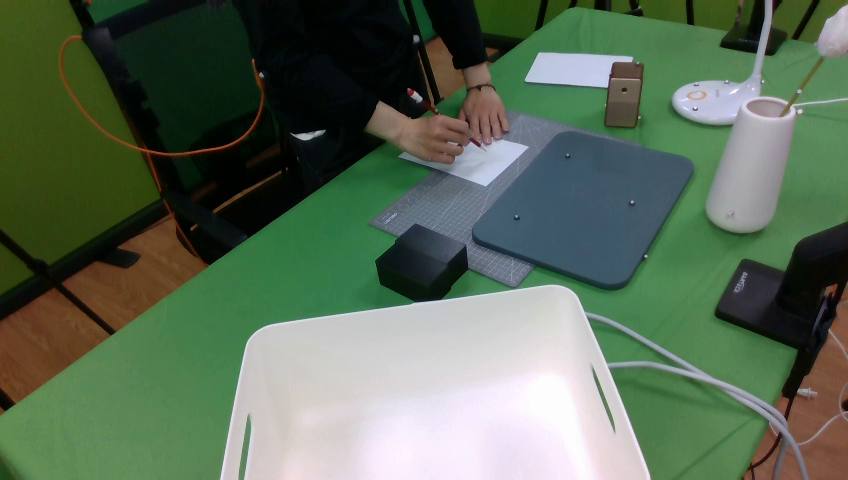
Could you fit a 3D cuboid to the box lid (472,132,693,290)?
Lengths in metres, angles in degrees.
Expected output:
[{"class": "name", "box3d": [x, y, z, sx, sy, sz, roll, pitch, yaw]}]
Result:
[{"class": "box lid", "box3d": [0.273, -0.068, 1.020, 0.261, 0.015, 0.372, 20, 47, 28]}]

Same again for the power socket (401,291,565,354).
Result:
[{"class": "power socket", "box3d": [0.080, 0.111, 0.823, 0.227, 0.033, 0.072, -5, 41, 1]}]

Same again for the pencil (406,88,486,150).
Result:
[{"class": "pencil", "box3d": [0.045, -0.216, 1.100, 0.012, 0.195, 0.012, -39, 33, 32]}]

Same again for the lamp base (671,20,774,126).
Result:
[{"class": "lamp base", "box3d": [0.581, -0.332, 1.154, 0.179, 0.181, 0.160, 2, 42, 7]}]

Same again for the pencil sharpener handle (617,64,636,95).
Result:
[{"class": "pencil sharpener handle", "box3d": [0.401, -0.326, 1.211, 0.036, 0.068, 0.030, 16, 44, 8]}]

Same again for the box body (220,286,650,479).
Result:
[{"class": "box body", "box3d": [0.006, 0.210, 0.618, 0.364, 0.161, 0.252, -8, 40, -1]}]

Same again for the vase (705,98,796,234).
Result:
[{"class": "vase", "box3d": [0.480, -0.104, 0.889, 0.098, 0.201, 0.097, -4, 42, 4]}]

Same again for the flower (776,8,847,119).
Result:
[{"class": "flower", "box3d": [0.476, -0.156, 0.822, 0.038, 0.362, 0.044, 8, 58, 2]}]

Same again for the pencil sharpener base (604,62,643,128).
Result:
[{"class": "pencil sharpener base", "box3d": [0.390, -0.284, 1.182, 0.061, 0.107, 0.076, 7, 42, 17]}]

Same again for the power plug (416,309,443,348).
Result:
[{"class": "power plug", "box3d": [0.004, 0.121, 0.787, 0.035, 0.053, 0.072, 2, 46, 8]}]
